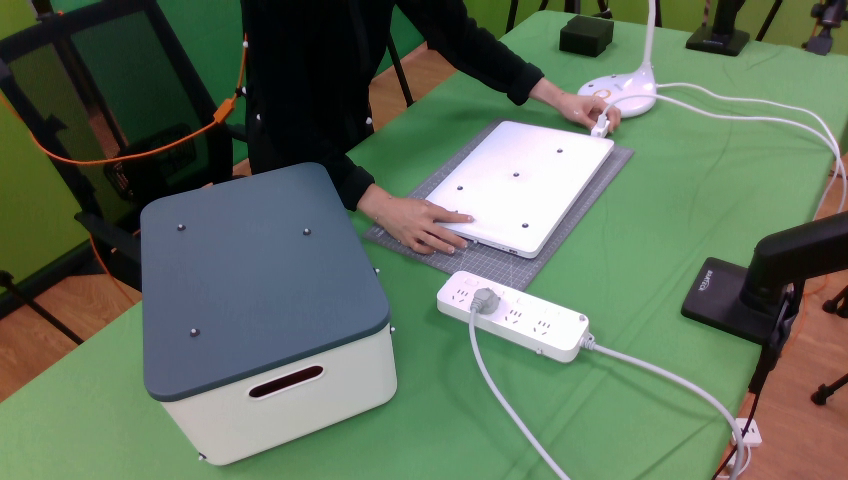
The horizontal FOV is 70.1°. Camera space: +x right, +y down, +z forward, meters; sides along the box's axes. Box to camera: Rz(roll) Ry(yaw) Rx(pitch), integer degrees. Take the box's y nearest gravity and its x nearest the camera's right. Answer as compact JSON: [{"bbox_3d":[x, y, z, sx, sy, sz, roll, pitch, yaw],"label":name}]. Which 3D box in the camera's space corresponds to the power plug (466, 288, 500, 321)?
[{"bbox_3d":[0.072,0.093,0.813,0.035,0.053,0.073,30,54,35],"label":"power plug"}]

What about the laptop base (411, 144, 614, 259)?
[{"bbox_3d":[0.166,-0.102,1.075,0.234,0.023,0.355,16,46,30],"label":"laptop base"}]

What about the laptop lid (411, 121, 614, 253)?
[{"bbox_3d":[0.163,-0.112,1.068,0.240,0.013,0.357,18,46,30],"label":"laptop lid"}]

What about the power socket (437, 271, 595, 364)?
[{"bbox_3d":[0.118,0.102,0.830,0.225,0.033,0.072,20,48,28],"label":"power socket"}]

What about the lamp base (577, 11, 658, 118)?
[{"bbox_3d":[0.406,-0.363,1.222,0.180,0.181,0.159,-20,42,-18],"label":"lamp base"}]

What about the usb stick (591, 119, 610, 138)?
[{"bbox_3d":[0.333,-0.204,1.151,0.021,0.027,0.059,24,52,21],"label":"usb stick"}]

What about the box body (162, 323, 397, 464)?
[{"bbox_3d":[-0.205,0.080,0.802,0.255,0.161,0.361,-18,41,-13],"label":"box body"}]

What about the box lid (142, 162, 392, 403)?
[{"bbox_3d":[-0.212,0.025,0.752,0.264,0.015,0.368,-17,41,-13],"label":"box lid"}]
